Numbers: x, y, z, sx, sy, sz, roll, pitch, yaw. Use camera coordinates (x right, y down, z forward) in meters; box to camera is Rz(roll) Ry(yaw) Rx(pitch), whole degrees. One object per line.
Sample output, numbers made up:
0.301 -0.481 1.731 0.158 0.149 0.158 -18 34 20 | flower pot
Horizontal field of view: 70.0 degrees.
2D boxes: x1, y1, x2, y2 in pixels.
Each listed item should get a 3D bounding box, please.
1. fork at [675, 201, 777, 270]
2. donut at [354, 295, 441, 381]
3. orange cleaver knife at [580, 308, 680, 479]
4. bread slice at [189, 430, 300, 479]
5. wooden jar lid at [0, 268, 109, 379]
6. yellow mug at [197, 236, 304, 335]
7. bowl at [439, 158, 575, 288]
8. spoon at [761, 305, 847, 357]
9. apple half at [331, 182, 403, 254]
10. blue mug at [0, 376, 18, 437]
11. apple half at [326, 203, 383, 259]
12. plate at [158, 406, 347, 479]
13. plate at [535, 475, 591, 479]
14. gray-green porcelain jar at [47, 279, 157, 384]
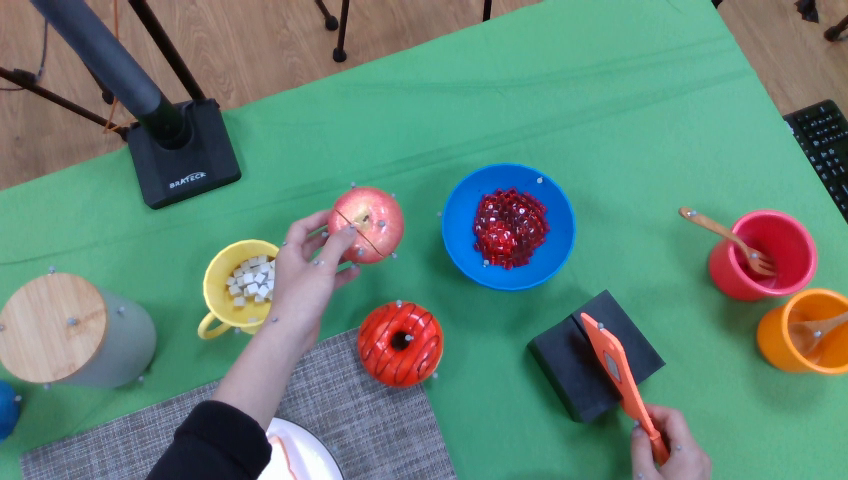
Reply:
0.336 -0.004 0.664 0.209 0.018 0.028 22 69 -36 | fork
-0.029 0.111 0.687 0.099 0.048 0.098 0 75 1 | donut
0.215 0.166 0.637 0.012 0.077 0.212 -29 103 -7 | orange cleaver knife
-0.172 0.285 0.644 0.107 0.018 0.133 -31 75 -7 | bread slice
-0.361 0.082 0.595 0.108 0.021 0.107 -1 73 2 | wooden jar lid
-0.206 0.062 0.694 0.131 0.064 0.099 -44 78 -10 | yellow mug
0.092 -0.011 0.706 0.151 0.077 0.150 0 75 1 | bowl
0.452 0.072 0.641 0.022 0.194 0.041 -9 65 -49 | spoon
-0.053 -0.030 0.642 0.080 0.075 0.053 42 85 11 | apple half
-0.518 0.191 0.641 0.082 0.106 0.116 42 79 12 | blue mug
-0.079 -0.001 0.640 0.081 0.081 0.033 43 87 12 | apple half
-0.180 0.283 0.643 0.208 0.039 0.206 0 75 1 | plate
0.147 0.350 0.623 0.209 0.038 0.208 0 74 2 | plate
-0.360 0.100 0.654 0.106 0.127 0.105 0 74 1 | gray-green porcelain jar
